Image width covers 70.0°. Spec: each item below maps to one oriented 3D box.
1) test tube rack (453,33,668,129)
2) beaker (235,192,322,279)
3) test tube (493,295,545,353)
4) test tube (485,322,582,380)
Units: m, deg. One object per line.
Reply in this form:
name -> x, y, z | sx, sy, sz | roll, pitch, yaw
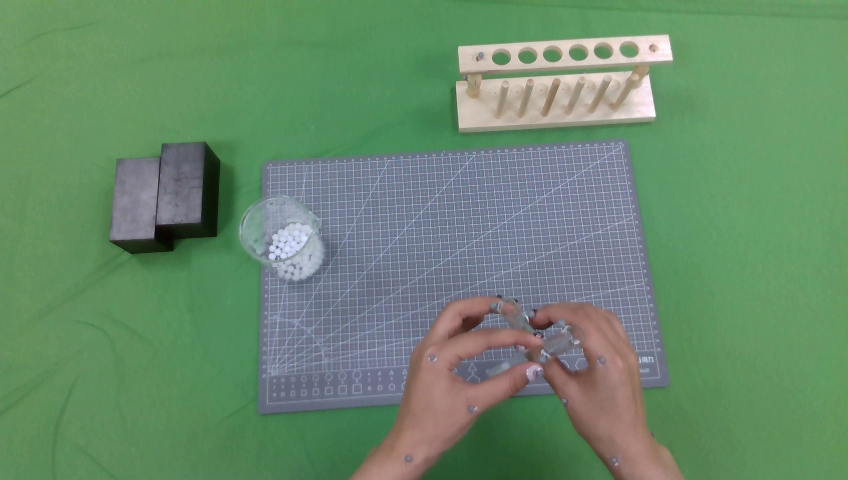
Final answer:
test tube rack -> 0.158, -0.188, 0.727 | 0.242, 0.085, 0.066 | -3, 73, 0
beaker -> -0.151, -0.001, 0.663 | 0.084, 0.101, 0.073 | -11, 74, -3
test tube -> 0.085, 0.075, 0.521 | 0.017, 0.152, 0.017 | -8, 66, 18
test tube -> 0.083, 0.093, 0.489 | 0.017, 0.150, 0.017 | 7, 65, -16
